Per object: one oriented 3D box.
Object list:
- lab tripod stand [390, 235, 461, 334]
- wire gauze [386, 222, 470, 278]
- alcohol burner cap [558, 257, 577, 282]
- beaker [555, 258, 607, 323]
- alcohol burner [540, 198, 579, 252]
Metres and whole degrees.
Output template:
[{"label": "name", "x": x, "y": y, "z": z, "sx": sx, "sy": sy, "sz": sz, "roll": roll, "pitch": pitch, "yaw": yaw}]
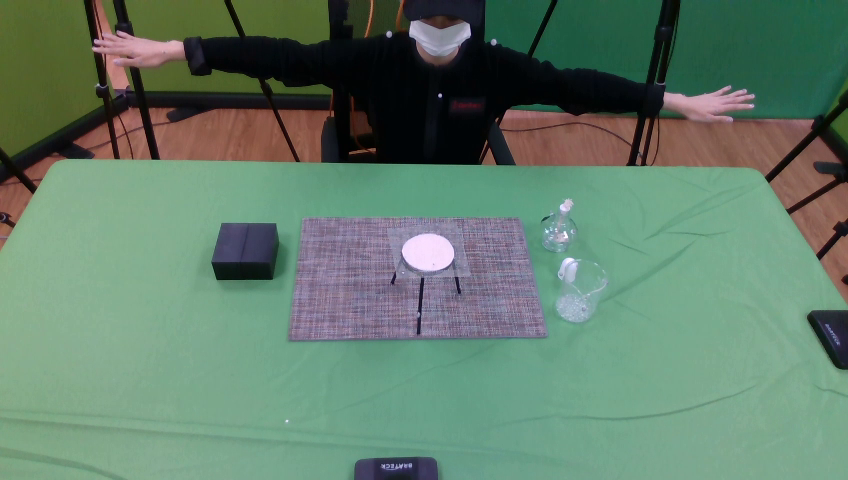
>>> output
[{"label": "lab tripod stand", "x": -0.001, "y": 0.067, "z": 1.050, "sx": 0.148, "sy": 0.132, "sz": 0.147, "roll": 1, "pitch": 47, "yaw": -1}, {"label": "wire gauze", "x": 0.004, "y": 0.016, "z": 1.005, "sx": 0.125, "sy": 0.011, "sz": 0.120, "roll": -5, "pitch": 46, "yaw": -8}, {"label": "alcohol burner cap", "x": 0.276, "y": 0.053, "z": 1.154, "sx": 0.034, "sy": 0.048, "sz": 0.033, "roll": 2, "pitch": 46, "yaw": -1}, {"label": "beaker", "x": 0.275, "y": 0.094, "z": 1.073, "sx": 0.074, "sy": 0.101, "sz": 0.083, "roll": 10, "pitch": 47, "yaw": 6}, {"label": "alcohol burner", "x": 0.267, "y": -0.035, "z": 1.187, "sx": 0.078, "sy": 0.120, "sz": 0.077, "roll": 1, "pitch": 45, "yaw": -1}]
